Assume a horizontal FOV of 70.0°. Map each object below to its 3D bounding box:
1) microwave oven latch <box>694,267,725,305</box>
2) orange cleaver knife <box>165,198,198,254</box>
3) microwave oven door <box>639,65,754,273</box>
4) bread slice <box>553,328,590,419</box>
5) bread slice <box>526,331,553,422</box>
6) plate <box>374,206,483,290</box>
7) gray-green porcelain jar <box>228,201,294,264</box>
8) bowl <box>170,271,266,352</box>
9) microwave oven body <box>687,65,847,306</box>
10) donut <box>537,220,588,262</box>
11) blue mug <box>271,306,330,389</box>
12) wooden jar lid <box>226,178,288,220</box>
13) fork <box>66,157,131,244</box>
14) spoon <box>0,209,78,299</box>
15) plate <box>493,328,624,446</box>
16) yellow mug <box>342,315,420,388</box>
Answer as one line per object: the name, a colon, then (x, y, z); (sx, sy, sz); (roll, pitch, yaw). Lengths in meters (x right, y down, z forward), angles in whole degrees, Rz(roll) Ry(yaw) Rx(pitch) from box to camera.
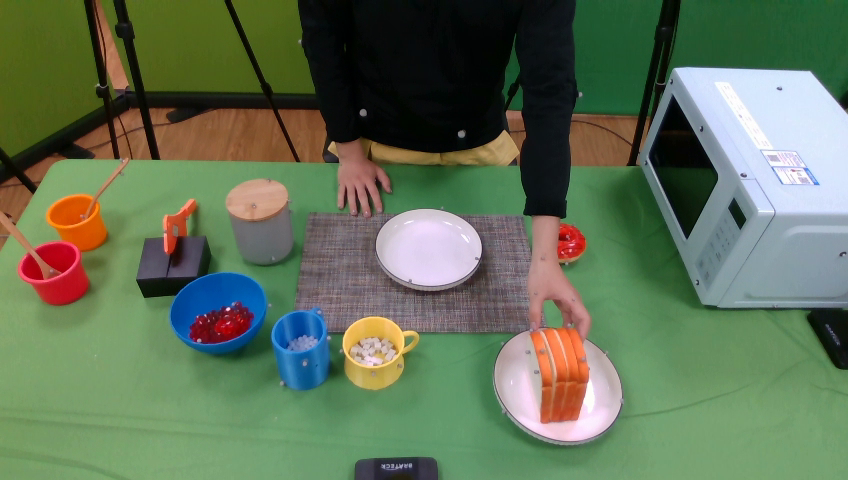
microwave oven latch: (0.524, 0.082, 1.115); (0.030, 0.029, 0.078); (4, 46, 1)
orange cleaver knife: (-0.458, -0.031, 1.149); (0.012, 0.077, 0.210); (-2, 17, -6)
microwave oven door: (0.522, -0.147, 1.193); (0.039, 0.245, 0.353); (0, 47, -3)
bread slice: (0.226, 0.201, 0.932); (0.018, 0.135, 0.106); (-4, 51, -4)
bread slice: (0.176, 0.202, 0.929); (0.019, 0.132, 0.104); (-9, 46, -1)
plate: (0.009, 0.019, 1.160); (0.209, 0.038, 0.208); (2, 47, -2)
gray-green porcelain jar: (-0.300, -0.027, 1.126); (0.106, 0.127, 0.105); (2, 46, -2)
bowl: (-0.333, 0.132, 1.006); (0.151, 0.077, 0.150); (2, 46, -2)
microwave oven body: (0.669, -0.111, 1.176); (0.326, 0.261, 0.439); (0, 46, -3)
donut: (0.273, 0.000, 1.198); (0.099, 0.048, 0.098); (0, 47, 0)
blue mug: (-0.188, 0.163, 0.969); (0.082, 0.106, 0.116); (15, 47, 10)
wooden jar lid: (-0.296, -0.070, 1.081); (0.108, 0.021, 0.107); (1, 45, -1)
fork: (-0.608, -0.074, 1.132); (0.207, 0.019, 0.028); (-52, 48, 10)
spoon: (-0.668, 0.021, 1.040); (0.041, 0.021, 0.194); (-41, 105, -30)
plate: (0.213, 0.236, 0.974); (0.208, 0.039, 0.206); (2, 46, -2)
yellow mug: (-0.067, 0.177, 0.990); (0.131, 0.064, 0.099); (-15, 50, -19)
